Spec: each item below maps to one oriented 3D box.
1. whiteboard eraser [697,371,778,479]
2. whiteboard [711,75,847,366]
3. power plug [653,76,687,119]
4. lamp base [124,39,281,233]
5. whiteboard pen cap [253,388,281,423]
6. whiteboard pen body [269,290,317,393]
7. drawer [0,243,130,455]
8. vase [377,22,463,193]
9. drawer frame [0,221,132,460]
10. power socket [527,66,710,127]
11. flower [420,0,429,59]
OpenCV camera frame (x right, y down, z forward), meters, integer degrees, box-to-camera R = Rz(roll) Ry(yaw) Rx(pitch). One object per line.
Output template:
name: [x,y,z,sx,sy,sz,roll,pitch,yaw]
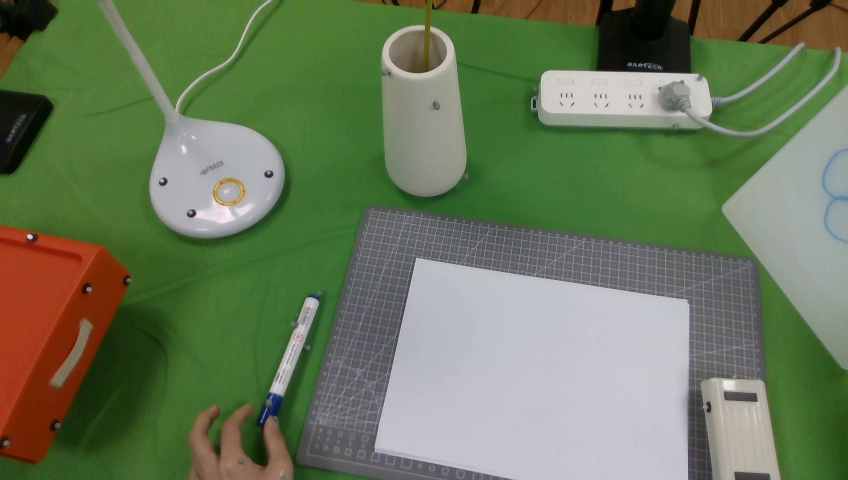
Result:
whiteboard eraser: [0.293,0.182,0.570,0.055,0.042,0.112,4,63,2]
whiteboard: [0.480,-0.053,0.575,0.144,0.307,0.215,-12,60,-25]
power plug: [0.294,-0.165,0.732,0.035,0.053,0.072,12,65,9]
lamp base: [-0.266,-0.122,0.672,0.178,0.182,0.160,39,70,23]
whiteboard pen cap: [-0.156,0.164,0.604,0.018,0.018,0.033,15,58,10]
whiteboard pen body: [-0.140,0.115,0.633,0.017,0.017,0.140,11,60,8]
drawer: [-0.428,0.081,0.578,0.211,0.074,0.193,11,64,7]
vase: [-0.006,-0.137,0.660,0.098,0.201,0.097,-1,62,3]
drawer frame: [-0.434,0.083,0.580,0.213,0.083,0.200,11,64,5]
power socket: [0.246,-0.182,0.768,0.226,0.033,0.071,3,63,3]
flower: [0.000,-0.190,0.595,0.038,0.365,0.043,-3,44,-7]
